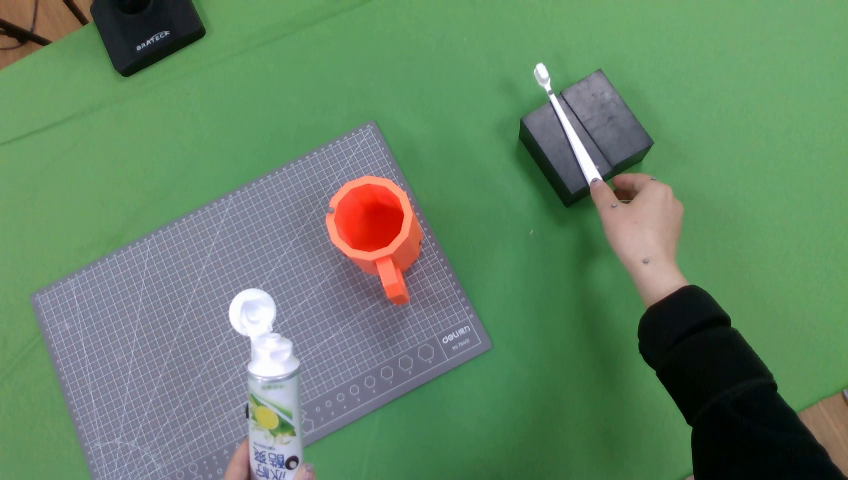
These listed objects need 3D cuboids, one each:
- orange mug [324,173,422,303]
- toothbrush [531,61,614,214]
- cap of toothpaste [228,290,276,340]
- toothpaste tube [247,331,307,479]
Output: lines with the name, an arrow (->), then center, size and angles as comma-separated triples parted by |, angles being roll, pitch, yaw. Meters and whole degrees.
orange mug -> -0.044, 0.003, 0.629 | 0.083, 0.101, 0.125 | -19, 72, 1
toothbrush -> 0.154, -0.109, 0.628 | 0.014, 0.017, 0.181 | -22, 77, -3
cap of toothpaste -> -0.121, 0.054, 0.432 | 0.037, 0.011, 0.037 | 8, 78, -38
toothpaste tube -> -0.108, 0.143, 0.440 | 0.055, 0.034, 0.165 | 7, 106, 25
